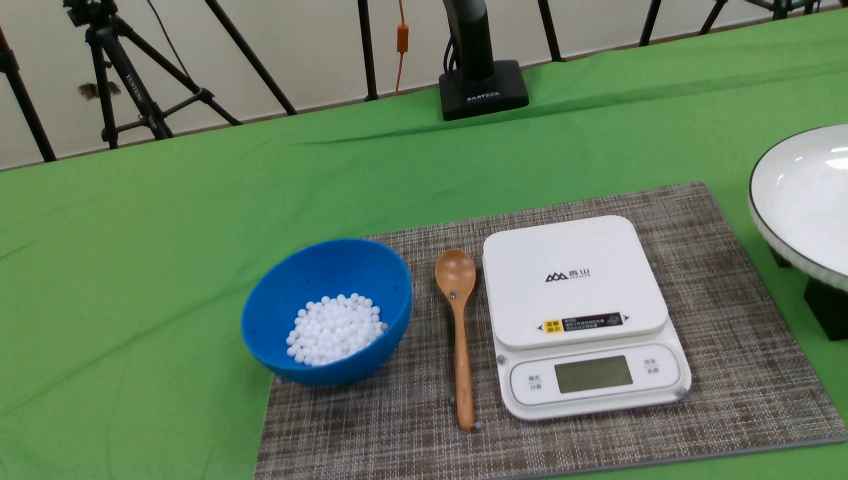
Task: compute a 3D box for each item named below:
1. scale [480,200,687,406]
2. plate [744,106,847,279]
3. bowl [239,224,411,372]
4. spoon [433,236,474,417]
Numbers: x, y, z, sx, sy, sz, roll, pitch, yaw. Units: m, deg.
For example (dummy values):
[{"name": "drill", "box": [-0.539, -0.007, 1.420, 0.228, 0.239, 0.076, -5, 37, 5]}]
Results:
[{"name": "scale", "box": [0.131, 0.047, 0.538, 0.148, 0.032, 0.199, -10, 44, 7]}, {"name": "plate", "box": [0.367, -0.034, 0.483, 0.209, 0.038, 0.207, -8, 44, 8]}, {"name": "bowl", "box": [-0.079, 0.064, 0.545, 0.151, 0.077, 0.150, -7, 44, 8]}, {"name": "spoon", "box": [0.030, 0.070, 0.550, 0.041, 0.022, 0.192, 2, 44, -3]}]
